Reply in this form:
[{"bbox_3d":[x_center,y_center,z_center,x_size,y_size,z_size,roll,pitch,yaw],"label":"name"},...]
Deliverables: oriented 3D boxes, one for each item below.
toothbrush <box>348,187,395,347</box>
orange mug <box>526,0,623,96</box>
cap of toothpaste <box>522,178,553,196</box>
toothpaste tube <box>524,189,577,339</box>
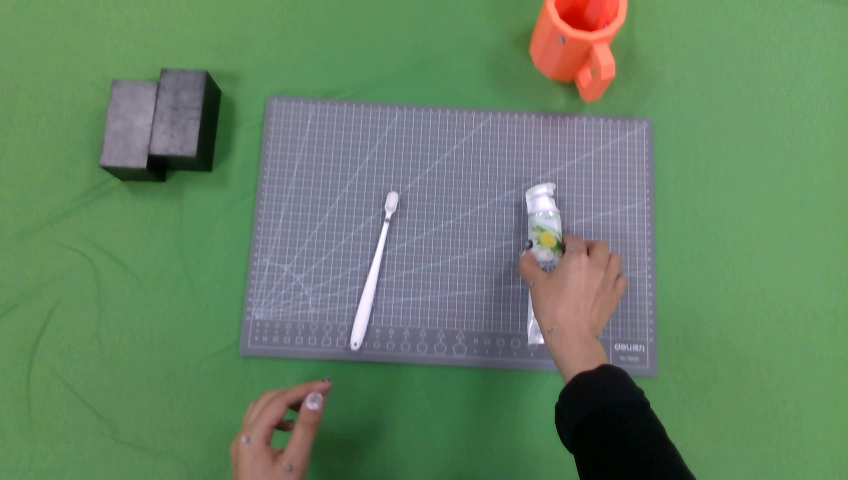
[{"bbox_3d":[-0.057,0.027,0.661,0.014,0.016,0.181,15,81,-13],"label":"toothbrush"},{"bbox_3d":[0.172,-0.230,0.678,0.083,0.101,0.125,-18,76,-5],"label":"orange mug"},{"bbox_3d":[0.127,-0.057,0.671,0.037,0.037,0.011,-13,73,-4],"label":"cap of toothpaste"},{"bbox_3d":[0.131,0.024,0.661,0.055,0.035,0.164,-7,82,16],"label":"toothpaste tube"}]
